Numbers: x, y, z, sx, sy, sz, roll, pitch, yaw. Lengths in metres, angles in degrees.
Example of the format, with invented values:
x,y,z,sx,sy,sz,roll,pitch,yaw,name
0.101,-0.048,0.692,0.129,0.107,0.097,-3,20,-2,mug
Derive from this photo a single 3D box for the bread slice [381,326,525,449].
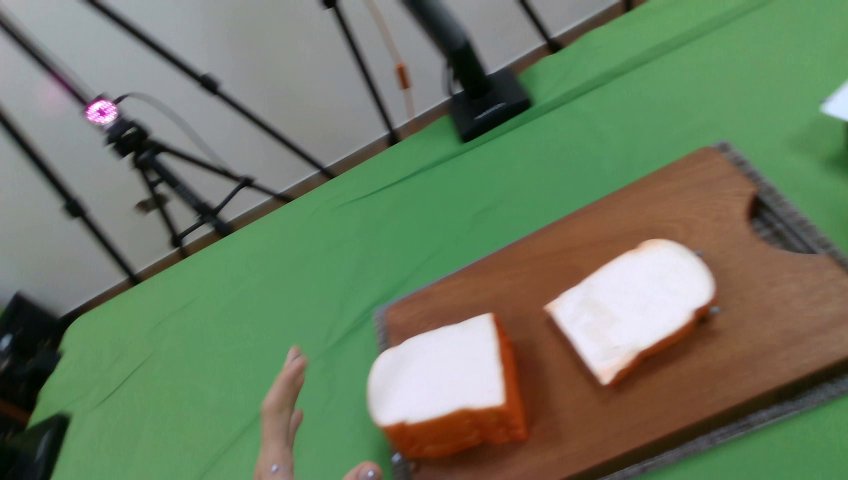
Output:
x,y,z,sx,sy,sz,roll,pitch,yaw,name
0.023,0.137,0.564,0.134,0.018,0.106,-16,41,17,bread slice

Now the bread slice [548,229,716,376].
x,y,z,sx,sy,sz,roll,pitch,yaw,name
0.186,0.049,0.531,0.131,0.019,0.103,-37,37,8,bread slice

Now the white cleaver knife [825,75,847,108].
x,y,z,sx,sy,sz,roll,pitch,yaw,name
0.441,-0.080,0.453,0.066,0.022,0.283,-36,41,0,white cleaver knife
